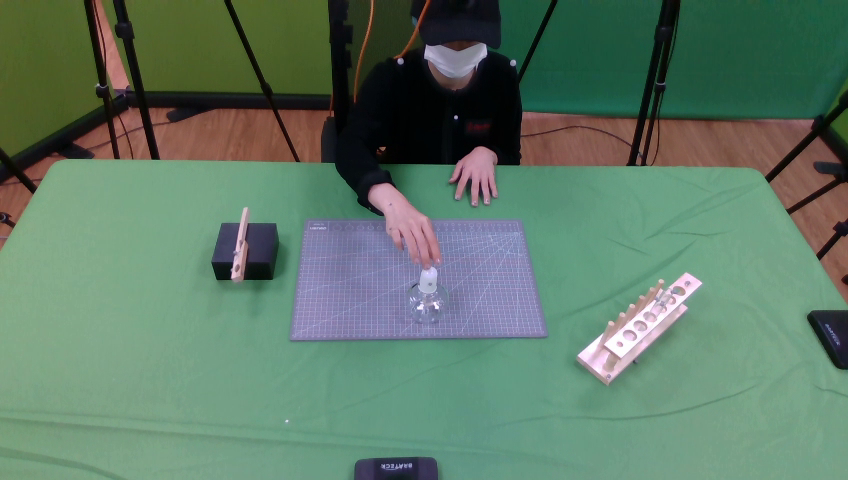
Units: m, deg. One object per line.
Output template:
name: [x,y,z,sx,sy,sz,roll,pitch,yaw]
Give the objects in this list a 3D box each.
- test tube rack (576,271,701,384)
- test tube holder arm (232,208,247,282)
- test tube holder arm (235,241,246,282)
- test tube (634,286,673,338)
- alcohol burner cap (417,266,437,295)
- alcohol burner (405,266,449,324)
test tube rack: [0.373,0.138,1.047,0.242,0.085,0.066,-31,56,-29]
test tube holder arm: [-0.335,0.006,1.102,0.013,0.015,0.177,-9,46,-2]
test tube holder arm: [-0.323,0.037,1.071,0.010,0.015,0.087,-9,46,-2]
test tube: [0.374,0.123,0.994,0.017,0.151,0.017,2,52,-2]
alcohol burner cap: [0.006,0.064,1.017,0.034,0.048,0.033,3,42,-3]
alcohol burner: [0.005,0.089,1.043,0.078,0.120,0.077,1,45,-1]
